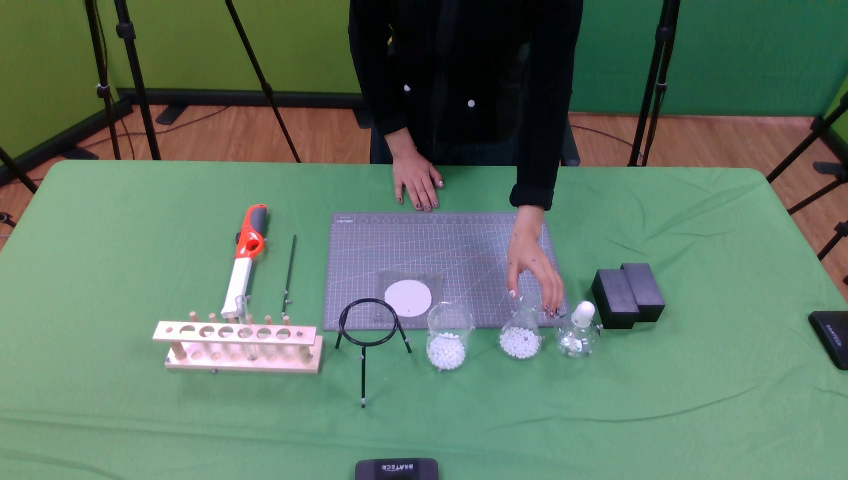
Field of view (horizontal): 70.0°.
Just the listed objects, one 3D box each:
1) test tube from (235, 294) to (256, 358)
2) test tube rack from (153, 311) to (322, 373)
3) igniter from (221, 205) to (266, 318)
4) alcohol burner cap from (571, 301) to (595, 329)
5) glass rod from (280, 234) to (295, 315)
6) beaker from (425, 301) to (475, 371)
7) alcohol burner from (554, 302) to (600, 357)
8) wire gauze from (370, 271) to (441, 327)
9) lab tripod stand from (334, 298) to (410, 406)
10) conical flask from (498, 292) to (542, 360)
[{"bbox_3d":[-0.274,0.136,0.933,0.017,0.151,0.017,4,45,-4],"label":"test tube"},{"bbox_3d":[-0.293,0.160,0.978,0.242,0.085,0.066,3,46,-2],"label":"test tube rack"},{"bbox_3d":[-0.338,0.030,1.140,0.057,0.025,0.274,-5,46,3],"label":"igniter"},{"bbox_3d":[0.262,0.120,0.991,0.034,0.048,0.033,1,52,-2],"label":"alcohol burner cap"},{"bbox_3d":[-0.253,0.060,1.132,0.008,0.008,0.198,0,46,-3],"label":"glass rod"},{"bbox_3d":[0.038,0.159,0.996,0.074,0.101,0.083,-13,48,-17],"label":"beaker"},{"bbox_3d":[0.260,0.143,1.018,0.078,0.119,0.077,3,45,-3],"label":"alcohol burner"},{"bbox_3d":[-0.032,0.103,1.104,0.125,0.011,0.121,4,46,3],"label":"wire gauze"},{"bbox_3d":[-0.086,0.164,0.958,0.148,0.132,0.147,3,44,-2],"label":"lab tripod stand"},{"bbox_3d":[0.167,0.139,1.010,0.075,0.122,0.075,2,46,-2],"label":"conical flask"}]
